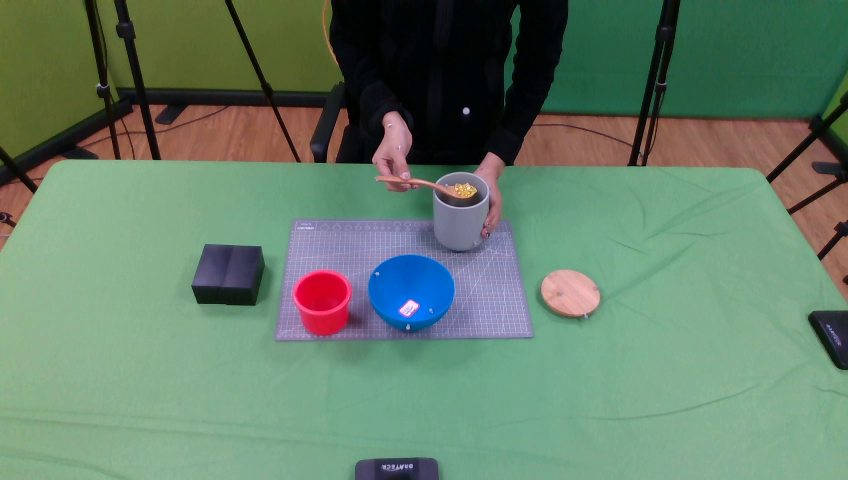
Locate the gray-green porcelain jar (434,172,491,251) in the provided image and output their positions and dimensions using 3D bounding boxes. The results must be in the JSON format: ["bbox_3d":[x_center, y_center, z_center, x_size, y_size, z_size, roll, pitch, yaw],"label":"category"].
[{"bbox_3d":[0.072,-0.050,1.164,0.106,0.127,0.105,-1,47,1],"label":"gray-green porcelain jar"}]

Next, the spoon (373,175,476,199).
[{"bbox_3d":[0.003,-0.102,1.105,0.194,0.022,0.041,10,38,-19],"label":"spoon"}]

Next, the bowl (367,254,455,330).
[{"bbox_3d":[-0.024,0.104,1.052,0.151,0.077,0.150,2,46,-2],"label":"bowl"}]

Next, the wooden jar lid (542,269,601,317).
[{"bbox_3d":[0.272,0.100,1.121,0.108,0.021,0.107,3,47,-3],"label":"wooden jar lid"}]
